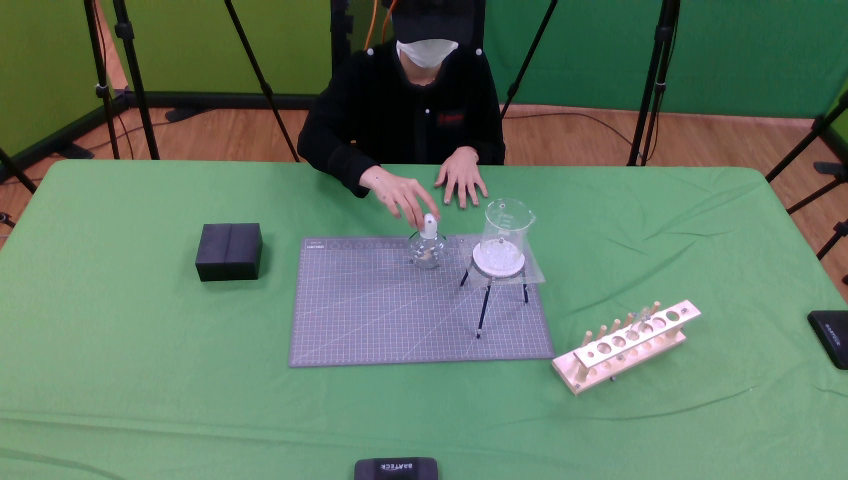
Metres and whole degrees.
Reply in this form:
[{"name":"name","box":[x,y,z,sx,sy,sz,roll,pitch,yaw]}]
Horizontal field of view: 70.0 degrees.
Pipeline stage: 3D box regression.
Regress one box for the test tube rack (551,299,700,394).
[{"name":"test tube rack","box":[0.339,0.166,1.021,0.242,0.085,0.066,-19,50,-21]}]

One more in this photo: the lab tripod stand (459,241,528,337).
[{"name":"lab tripod stand","box":[0.122,0.075,1.054,0.148,0.132,0.147,3,44,-3]}]

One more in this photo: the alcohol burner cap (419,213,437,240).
[{"name":"alcohol burner cap","box":[0.009,-0.027,1.109,0.034,0.048,0.033,4,42,-3]}]

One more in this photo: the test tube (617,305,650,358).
[{"name":"test tube","box":[0.333,0.149,0.967,0.017,0.151,0.017,0,52,1]}]

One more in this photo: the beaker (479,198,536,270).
[{"name":"beaker","box":[0.131,-0.007,0.975,0.084,0.101,0.073,2,46,-4]}]

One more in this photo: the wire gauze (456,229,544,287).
[{"name":"wire gauze","box":[0.125,0.030,1.008,0.125,0.011,0.120,-2,48,-11]}]

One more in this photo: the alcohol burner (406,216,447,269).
[{"name":"alcohol burner","box":[0.006,-0.002,1.134,0.078,0.120,0.077,2,48,-2]}]
